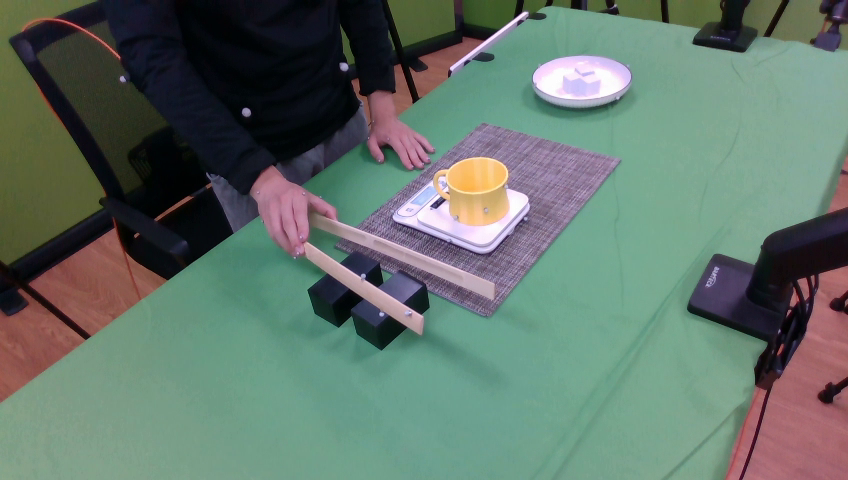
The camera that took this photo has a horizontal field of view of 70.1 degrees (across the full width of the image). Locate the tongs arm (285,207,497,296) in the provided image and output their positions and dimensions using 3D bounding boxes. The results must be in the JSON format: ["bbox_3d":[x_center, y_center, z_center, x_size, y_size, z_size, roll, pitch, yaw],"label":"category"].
[{"bbox_3d":[-0.062,0.009,0.872,0.384,0.028,0.028,19,36,33],"label":"tongs arm"}]

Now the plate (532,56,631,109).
[{"bbox_3d":[0.336,-0.335,1.301,0.207,0.039,0.206,-4,41,4],"label":"plate"}]

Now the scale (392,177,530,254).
[{"bbox_3d":[0.060,-0.050,1.006,0.199,0.032,0.149,22,48,30],"label":"scale"}]

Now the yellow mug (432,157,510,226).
[{"bbox_3d":[0.072,-0.082,0.968,0.130,0.064,0.100,13,45,24],"label":"yellow mug"}]

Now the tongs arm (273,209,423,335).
[{"bbox_3d":[-0.113,0.030,0.825,0.051,0.026,0.381,-22,33,-37],"label":"tongs arm"}]
